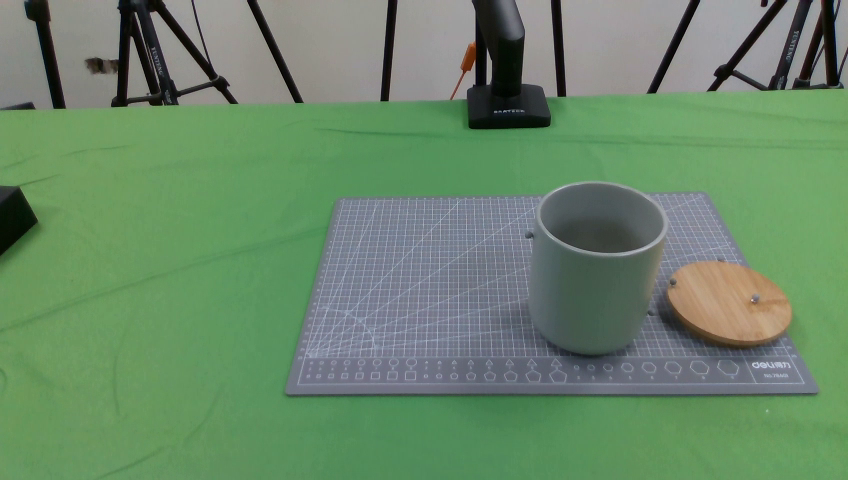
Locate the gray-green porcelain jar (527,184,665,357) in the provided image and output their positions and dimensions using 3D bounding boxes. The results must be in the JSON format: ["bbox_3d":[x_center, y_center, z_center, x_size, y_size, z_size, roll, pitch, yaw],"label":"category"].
[{"bbox_3d":[0.145,0.031,0.533,0.106,0.127,0.105,-2,39,2],"label":"gray-green porcelain jar"}]

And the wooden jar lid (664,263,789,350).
[{"bbox_3d":[0.282,0.063,0.571,0.108,0.021,0.107,-2,37,2],"label":"wooden jar lid"}]
